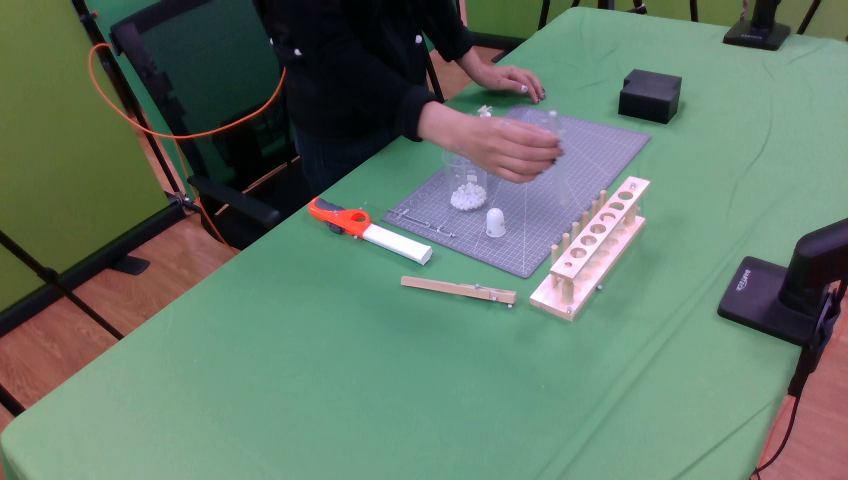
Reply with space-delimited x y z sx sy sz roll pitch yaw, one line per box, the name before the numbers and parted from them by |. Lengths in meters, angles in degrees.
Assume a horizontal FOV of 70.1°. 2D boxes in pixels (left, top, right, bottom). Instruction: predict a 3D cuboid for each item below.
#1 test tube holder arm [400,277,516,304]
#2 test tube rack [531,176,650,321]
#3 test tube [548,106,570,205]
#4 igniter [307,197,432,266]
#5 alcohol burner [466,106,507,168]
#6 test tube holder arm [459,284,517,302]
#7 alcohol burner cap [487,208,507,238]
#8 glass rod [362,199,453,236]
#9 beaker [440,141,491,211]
test tube holder arm | 0.047 0.073 0.887 0.177 0.015 0.013 7 9 19
test tube rack | 0.246 0.002 0.884 0.066 0.085 0.243 22 49 32
test tube | 0.178 -0.108 0.796 0.017 0.151 0.017 -10 38 9
igniter | -0.102 -0.020 1.019 0.274 0.025 0.057 23 60 32
alcohol burner | 0.114 -0.193 1.112 0.078 0.119 0.077 -4 41 4
test tube holder arm | 0.091 0.077 0.877 0.087 0.015 0.010 7 9 20
alcohol burner cap | 0.116 -0.030 0.975 0.034 0.048 0.033 -6 40 5
glass rod | -0.031 -0.041 1.041 0.198 0.008 0.008 22 50 31
beaker | 0.074 -0.106 1.028 0.084 0.101 0.073 -1 41 8
